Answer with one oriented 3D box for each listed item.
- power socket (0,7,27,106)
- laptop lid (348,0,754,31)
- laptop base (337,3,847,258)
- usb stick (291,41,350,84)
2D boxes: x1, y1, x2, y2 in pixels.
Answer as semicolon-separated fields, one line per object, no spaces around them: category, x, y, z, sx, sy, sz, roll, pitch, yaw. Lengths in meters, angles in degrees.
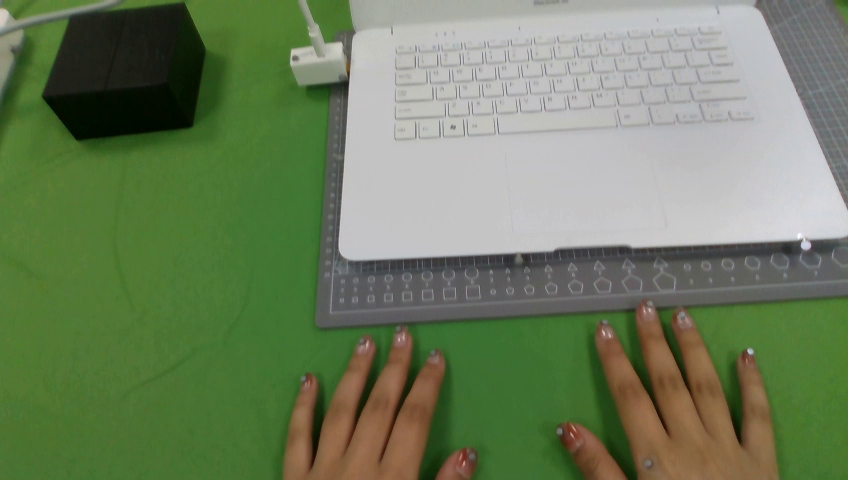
power socket;-0.414;-0.126;0.531;0.072;0.033;0.224;-5;57;-1
laptop lid;0.103;-0.286;0.468;0.356;0.244;0.013;-4;37;3
laptop base;0.113;-0.092;0.477;0.354;0.023;0.233;-3;61;3
usb stick;-0.081;-0.151;0.515;0.059;0.027;0.021;-5;56;2
